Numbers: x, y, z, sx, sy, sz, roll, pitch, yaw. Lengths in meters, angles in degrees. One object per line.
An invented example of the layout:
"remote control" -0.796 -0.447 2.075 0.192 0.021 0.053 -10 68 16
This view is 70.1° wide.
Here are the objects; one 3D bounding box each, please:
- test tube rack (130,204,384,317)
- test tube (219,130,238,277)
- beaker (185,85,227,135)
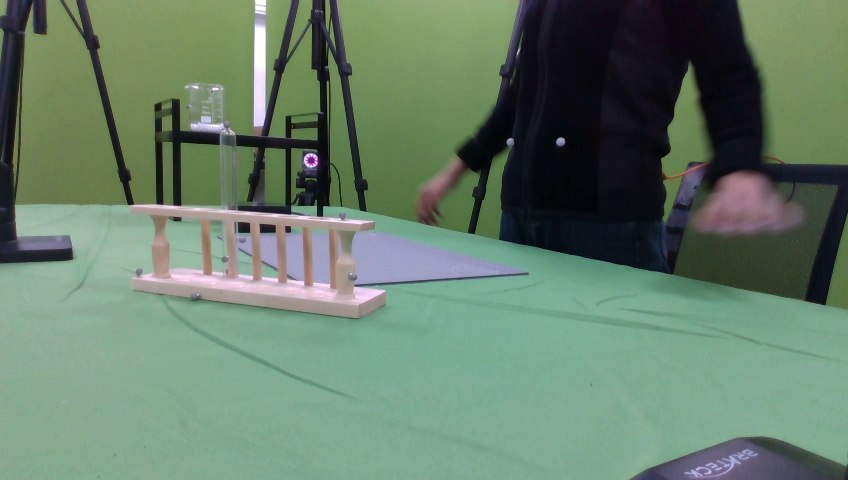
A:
"test tube rack" -0.163 0.013 0.589 0.242 0.085 0.067 5 8 17
"test tube" -0.198 -0.036 0.613 0.017 0.150 0.017 2 8 0
"beaker" -0.460 -0.275 1.282 0.084 0.100 0.073 -3 8 -27
